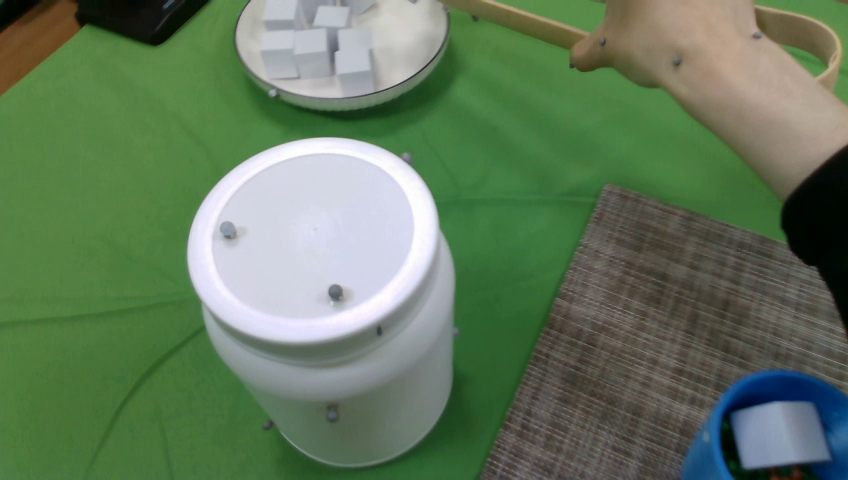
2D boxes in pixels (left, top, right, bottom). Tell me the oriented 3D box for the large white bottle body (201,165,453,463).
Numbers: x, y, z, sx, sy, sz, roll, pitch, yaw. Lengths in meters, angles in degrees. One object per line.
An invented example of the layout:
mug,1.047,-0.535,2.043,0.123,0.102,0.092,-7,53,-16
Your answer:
large white bottle body,-0.048,0.044,0.353,0.130,0.186,0.129,-1,57,1

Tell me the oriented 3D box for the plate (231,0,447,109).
plate,-0.080,-0.201,0.597,0.207,0.039,0.205,-1,57,1

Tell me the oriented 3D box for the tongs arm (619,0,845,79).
tongs arm,0.109,-0.190,0.453,0.383,0.028,0.028,32,74,35

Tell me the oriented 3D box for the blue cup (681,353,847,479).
blue cup,0.188,0.128,0.337,0.092,0.101,0.092,-2,56,3

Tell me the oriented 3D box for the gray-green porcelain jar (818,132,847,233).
gray-green porcelain jar,0.366,-0.060,0.442,0.106,0.127,0.105,-1,57,2

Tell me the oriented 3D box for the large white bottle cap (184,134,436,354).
large white bottle cap,-0.051,-0.003,0.281,0.115,0.018,0.113,-1,57,1

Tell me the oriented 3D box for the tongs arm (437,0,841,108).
tongs arm,0.095,-0.173,0.450,0.050,0.027,0.381,-47,54,-8
